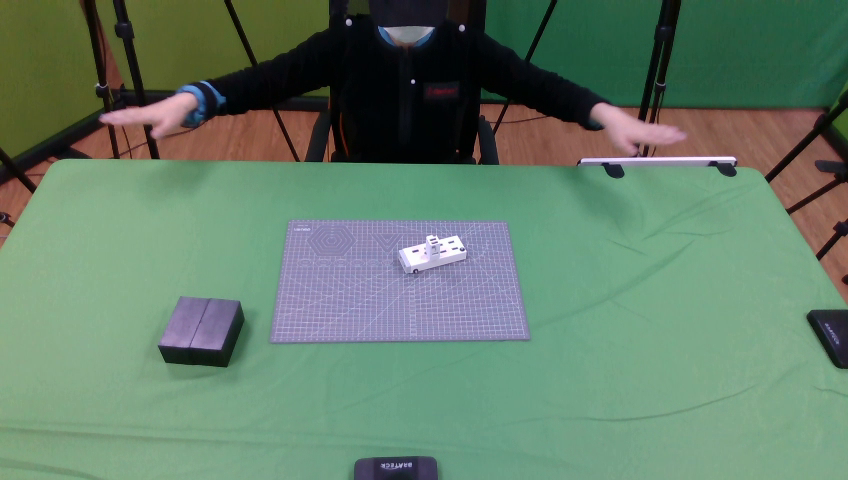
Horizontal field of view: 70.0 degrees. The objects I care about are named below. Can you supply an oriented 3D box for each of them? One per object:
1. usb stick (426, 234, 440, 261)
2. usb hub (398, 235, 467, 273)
[{"bbox_3d":[0.017,0.019,1.133,0.021,0.059,0.027,-16,52,-15],"label":"usb stick"},{"bbox_3d":[0.016,0.027,1.166,0.125,0.025,0.049,-14,50,-17],"label":"usb hub"}]
